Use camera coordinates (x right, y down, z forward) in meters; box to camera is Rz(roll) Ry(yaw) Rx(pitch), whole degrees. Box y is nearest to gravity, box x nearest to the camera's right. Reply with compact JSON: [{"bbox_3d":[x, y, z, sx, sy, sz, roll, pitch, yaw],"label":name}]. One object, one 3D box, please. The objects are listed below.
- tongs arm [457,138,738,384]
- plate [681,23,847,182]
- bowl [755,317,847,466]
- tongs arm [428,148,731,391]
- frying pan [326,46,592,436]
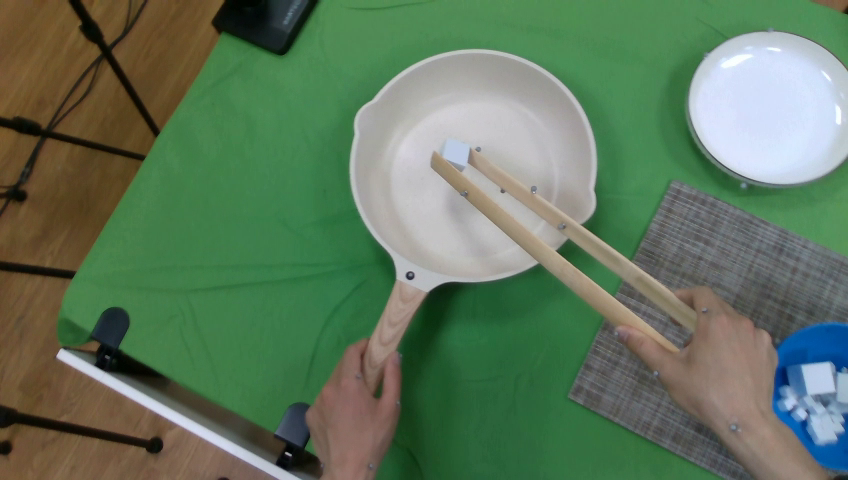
[{"bbox_3d":[0.149,0.003,0.620,0.051,0.027,0.381,-27,53,-33],"label":"tongs arm"},{"bbox_3d":[0.424,-0.167,0.753,0.207,0.039,0.206,-1,77,4],"label":"plate"},{"bbox_3d":[0.426,0.161,0.655,0.151,0.077,0.150,-1,78,4],"label":"bowl"},{"bbox_3d":[0.127,0.013,0.606,0.028,0.028,0.383,-22,50,-34],"label":"tongs arm"},{"bbox_3d":[0.007,-0.003,0.712,0.306,0.103,0.486,24,72,10],"label":"frying pan"}]
